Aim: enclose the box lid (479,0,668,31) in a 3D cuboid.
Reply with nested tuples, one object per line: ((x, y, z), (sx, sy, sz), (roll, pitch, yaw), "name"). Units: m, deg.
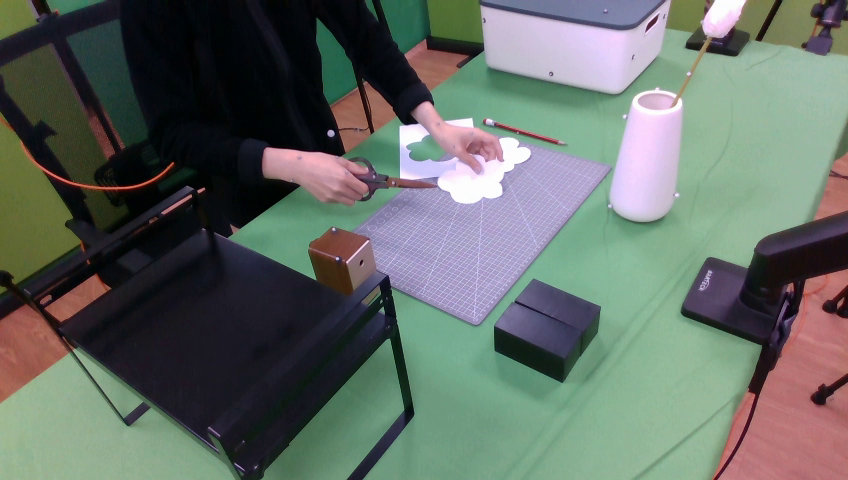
((0.335, -0.536, 1.331), (0.368, 0.015, 0.264), (23, 49, 30), "box lid")

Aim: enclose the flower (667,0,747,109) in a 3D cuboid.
((0.354, -0.187, 0.879), (0.038, 0.362, 0.044), (30, 48, 14), "flower")

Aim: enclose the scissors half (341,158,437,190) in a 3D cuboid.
((-0.059, -0.103, 0.980), (0.174, 0.040, 0.013), (16, 23, 21), "scissors half")

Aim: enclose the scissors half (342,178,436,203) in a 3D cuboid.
((-0.059, -0.083, 0.985), (0.174, 0.040, 0.013), (-2, 10, 27), "scissors half")

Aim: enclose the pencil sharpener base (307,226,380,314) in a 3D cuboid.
((-0.116, 0.043, 0.875), (0.076, 0.107, 0.061), (18, 47, 27), "pencil sharpener base")

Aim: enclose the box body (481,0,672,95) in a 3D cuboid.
((0.341, -0.480, 1.381), (0.361, 0.161, 0.255), (22, 48, 30), "box body")

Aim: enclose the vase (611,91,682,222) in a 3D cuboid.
((0.348, -0.125, 0.935), (0.098, 0.201, 0.097), (-3, 40, 3), "vase")

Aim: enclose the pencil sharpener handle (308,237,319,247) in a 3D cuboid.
((-0.159, 0.017, 0.892), (0.030, 0.068, 0.036), (18, 60, 28), "pencil sharpener handle")

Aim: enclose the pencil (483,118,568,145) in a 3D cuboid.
((0.202, -0.217, 1.212), (0.192, 0.012, 0.012), (24, 49, 29), "pencil")
